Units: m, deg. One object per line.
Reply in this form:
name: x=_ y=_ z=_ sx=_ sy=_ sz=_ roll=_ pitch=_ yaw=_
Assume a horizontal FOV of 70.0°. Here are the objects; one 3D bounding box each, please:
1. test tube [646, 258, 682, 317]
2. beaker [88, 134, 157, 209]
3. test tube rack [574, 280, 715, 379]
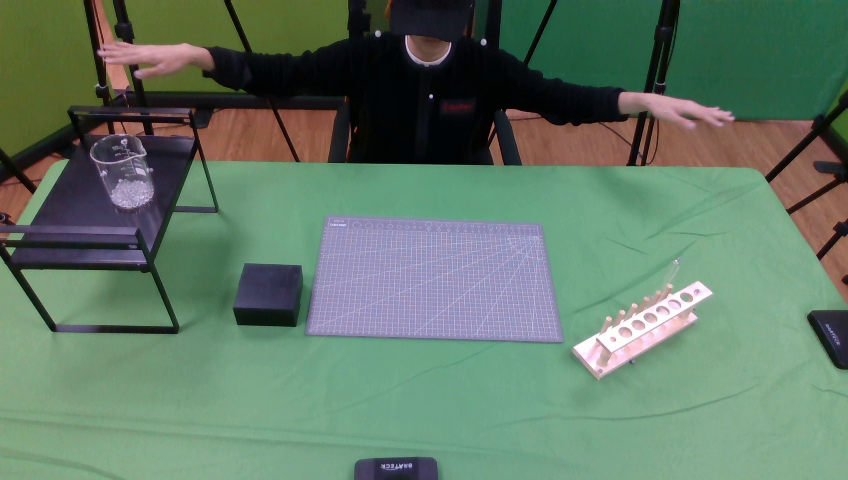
test tube: x=0.407 y=0.082 z=1.033 sx=0.017 sy=0.151 sz=0.017 roll=2 pitch=47 yaw=-2
beaker: x=-0.470 y=-0.106 z=0.960 sx=0.084 sy=0.101 sz=0.073 roll=4 pitch=46 yaw=0
test tube rack: x=0.378 y=0.140 z=1.038 sx=0.242 sy=0.085 sz=0.066 roll=-22 pitch=51 yaw=-23
